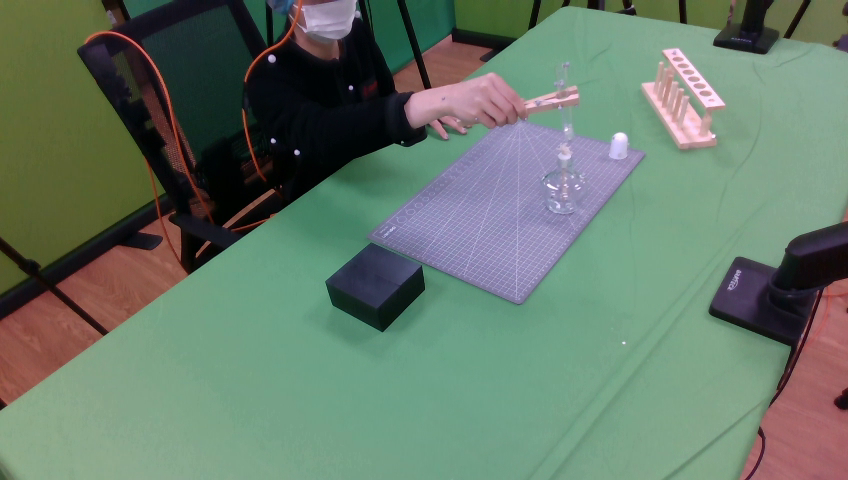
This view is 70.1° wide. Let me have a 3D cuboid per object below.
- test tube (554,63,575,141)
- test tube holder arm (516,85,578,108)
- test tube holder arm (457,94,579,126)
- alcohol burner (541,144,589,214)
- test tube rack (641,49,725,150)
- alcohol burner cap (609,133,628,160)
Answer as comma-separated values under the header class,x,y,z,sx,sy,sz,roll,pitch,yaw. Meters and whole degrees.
class,x,y,z,sx,sy,sz,roll,pitch,yaw
test tube,0.204,-0.195,0.875,0.017,0.151,0.017,-9,57,14
test tube holder arm,0.177,-0.202,0.870,0.087,0.015,0.010,-16,56,12
test tube holder arm,0.134,-0.189,0.879,0.178,0.015,0.013,-9,57,16
alcohol burner,0.229,-0.102,0.983,0.078,0.119,0.077,-6,41,5
test tube rack,0.495,-0.279,1.175,0.067,0.085,0.241,-5,41,3
alcohol burner cap,0.356,-0.172,1.101,0.034,0.048,0.033,-5,41,5
